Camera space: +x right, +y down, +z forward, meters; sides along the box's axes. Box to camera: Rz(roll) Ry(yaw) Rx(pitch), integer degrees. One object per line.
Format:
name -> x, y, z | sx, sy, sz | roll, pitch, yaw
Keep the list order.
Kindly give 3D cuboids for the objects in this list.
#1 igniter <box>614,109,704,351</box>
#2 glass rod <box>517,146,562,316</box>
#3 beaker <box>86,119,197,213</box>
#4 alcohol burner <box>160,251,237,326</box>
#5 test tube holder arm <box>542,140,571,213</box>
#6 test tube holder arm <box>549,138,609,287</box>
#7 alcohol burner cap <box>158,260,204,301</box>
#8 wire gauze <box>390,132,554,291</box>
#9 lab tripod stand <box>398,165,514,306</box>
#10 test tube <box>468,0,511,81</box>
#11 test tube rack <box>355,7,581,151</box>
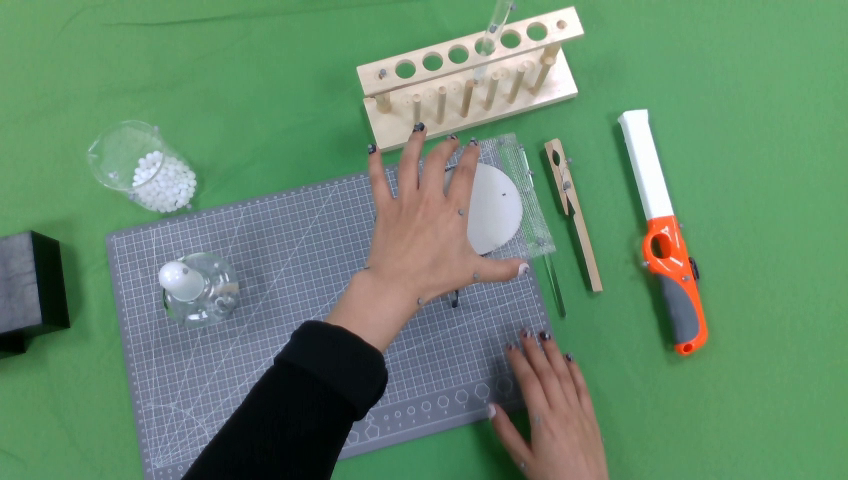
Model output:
igniter -> 0.261, -0.016, 0.674 | 0.057, 0.025, 0.275 | -8, 78, -12
glass rod -> 0.130, -0.012, 0.682 | 0.008, 0.008, 0.199 | -11, 81, -3
beaker -> -0.294, -0.073, 0.642 | 0.084, 0.100, 0.073 | 4, 77, 1
alcohol burner -> -0.232, 0.046, 0.607 | 0.078, 0.119, 0.077 | 0, 76, 1
test tube holder arm -> 0.155, -0.072, 0.690 | 0.010, 0.015, 0.087 | -24, 76, 34
test tube holder arm -> 0.172, -0.032, 0.678 | 0.013, 0.015, 0.177 | -26, 75, 33
alcohol burner cap -> -0.232, 0.036, 0.572 | 0.034, 0.048, 0.033 | 0, 68, -1
wire gauze -> 0.042, -0.029, 0.549 | 0.121, 0.011, 0.124 | -16, 79, -3
lab tripod stand -> 0.031, -0.013, 0.613 | 0.148, 0.132, 0.147 | 0, 78, 1
test tube -> 0.066, -0.207, 0.632 | 0.017, 0.150, 0.017 | 2, 75, -6
test tube rack -> 0.052, -0.176, 0.676 | 0.242, 0.085, 0.066 | -17, 78, -4
